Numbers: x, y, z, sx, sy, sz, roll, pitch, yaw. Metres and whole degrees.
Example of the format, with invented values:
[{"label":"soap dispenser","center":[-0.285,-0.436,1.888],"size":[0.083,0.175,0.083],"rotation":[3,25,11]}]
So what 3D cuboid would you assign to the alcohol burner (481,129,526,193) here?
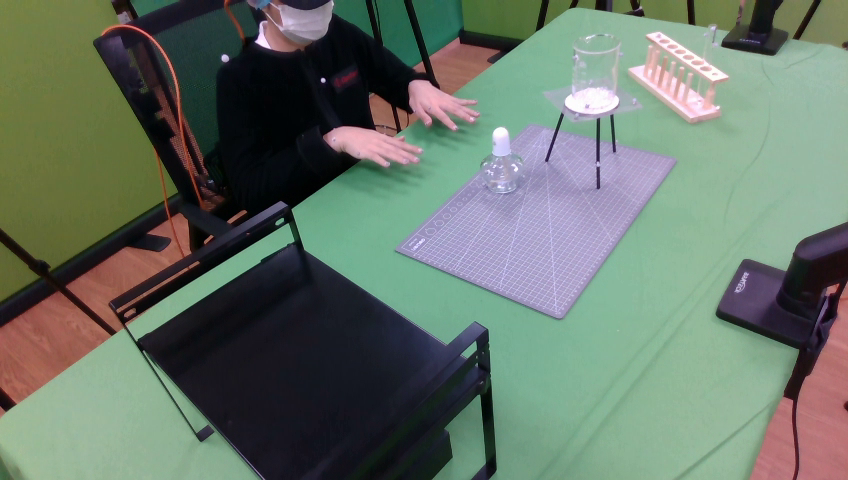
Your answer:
[{"label":"alcohol burner","center":[0.138,-0.142,1.052],"size":[0.078,0.119,0.077],"rotation":[-5,42,5]}]

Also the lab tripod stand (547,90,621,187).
[{"label":"lab tripod stand","center":[0.289,-0.184,1.062],"size":[0.148,0.132,0.147],"rotation":[-6,41,6]}]

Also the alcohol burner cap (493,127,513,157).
[{"label":"alcohol burner cap","center":[0.132,-0.169,1.030],"size":[0.034,0.048,0.033],"rotation":[-7,36,5]}]

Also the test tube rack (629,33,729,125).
[{"label":"test tube rack","center":[0.516,-0.337,1.247],"size":[0.067,0.085,0.240],"rotation":[-14,41,-7]}]

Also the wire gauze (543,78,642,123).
[{"label":"wire gauze","center":[0.282,-0.234,1.021],"size":[0.125,0.011,0.120],"rotation":[-17,38,-4]}]

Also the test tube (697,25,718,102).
[{"label":"test tube","center":[0.546,-0.337,1.166],"size":[0.017,0.151,0.017],"rotation":[-5,36,4]}]

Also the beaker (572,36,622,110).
[{"label":"beaker","center":[0.279,-0.274,0.992],"size":[0.074,0.101,0.083],"rotation":[-14,40,-5]}]
